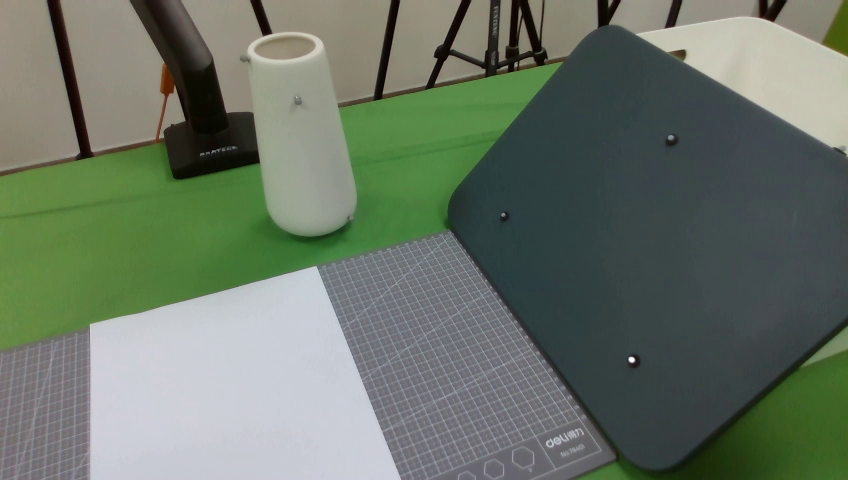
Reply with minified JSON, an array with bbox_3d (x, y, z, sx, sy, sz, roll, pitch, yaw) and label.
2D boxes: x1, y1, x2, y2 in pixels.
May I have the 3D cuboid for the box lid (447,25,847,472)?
[{"bbox_3d":[0.174,-0.021,0.526,0.015,0.263,0.367,26,21,-42],"label":"box lid"}]

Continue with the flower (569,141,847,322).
[{"bbox_3d":[0.302,-0.009,0.644,0.358,0.038,0.044,40,23,30],"label":"flower"}]

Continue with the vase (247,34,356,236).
[{"bbox_3d":[-0.126,-0.101,0.620,0.098,0.202,0.097,-1,40,1],"label":"vase"}]

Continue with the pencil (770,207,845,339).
[{"bbox_3d":[0.373,0.026,0.593,0.012,0.012,0.192,4,38,6],"label":"pencil"}]

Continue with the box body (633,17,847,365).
[{"bbox_3d":[0.337,-0.071,0.607,0.255,0.162,0.359,-15,43,-16],"label":"box body"}]
